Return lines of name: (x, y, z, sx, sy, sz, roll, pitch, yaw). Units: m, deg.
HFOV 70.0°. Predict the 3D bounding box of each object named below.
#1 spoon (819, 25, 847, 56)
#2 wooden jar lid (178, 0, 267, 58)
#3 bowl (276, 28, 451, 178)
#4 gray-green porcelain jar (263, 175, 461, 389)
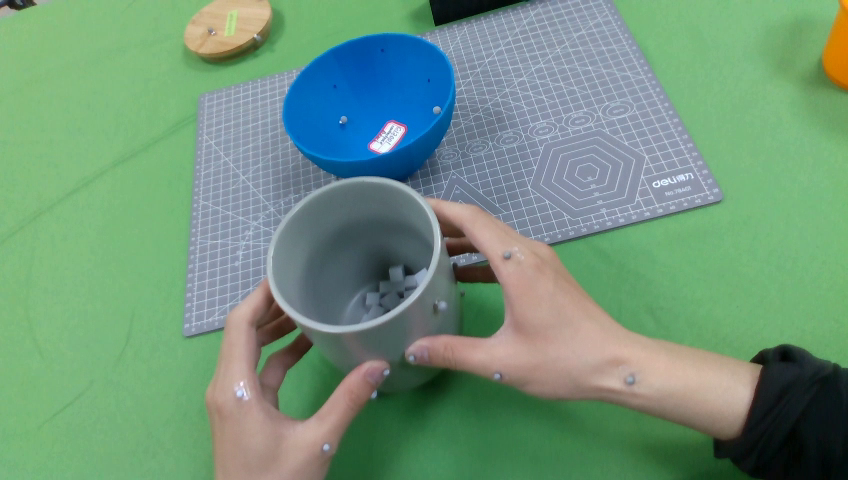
spoon: (0.393, -0.180, 0.442, 0.022, 0.193, 0.041, 41, 66, -15)
wooden jar lid: (-0.234, -0.253, 0.712, 0.108, 0.021, 0.107, -5, 57, 8)
bowl: (-0.044, -0.106, 0.536, 0.151, 0.077, 0.150, -6, 57, 10)
gray-green porcelain jar: (-0.032, 0.036, 0.403, 0.106, 0.128, 0.105, -5, 59, 9)
